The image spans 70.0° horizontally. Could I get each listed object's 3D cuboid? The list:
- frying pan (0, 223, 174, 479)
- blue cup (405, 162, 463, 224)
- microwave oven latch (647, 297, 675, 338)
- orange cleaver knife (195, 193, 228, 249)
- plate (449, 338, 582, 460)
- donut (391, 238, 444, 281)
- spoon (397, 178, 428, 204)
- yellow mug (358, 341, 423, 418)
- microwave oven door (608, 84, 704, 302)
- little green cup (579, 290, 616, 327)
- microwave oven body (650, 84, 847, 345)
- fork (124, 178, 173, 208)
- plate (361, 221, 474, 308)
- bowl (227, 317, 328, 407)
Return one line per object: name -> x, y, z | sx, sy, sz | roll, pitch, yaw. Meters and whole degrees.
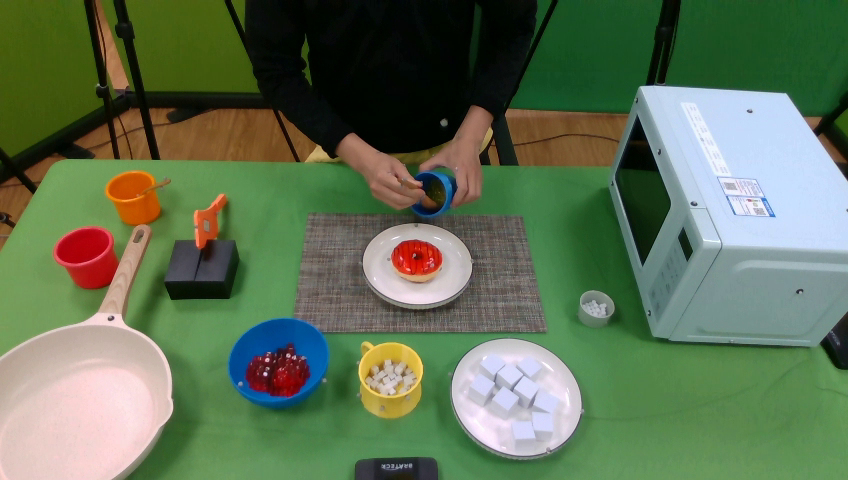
frying pan -> -0.505, 0.169, 0.941 | 0.307, 0.103, 0.485 | 5, 54, -1
blue cup -> 0.026, -0.078, 1.140 | 0.092, 0.101, 0.092 | -14, 60, 25
microwave oven latch -> 0.413, 0.133, 1.060 | 0.030, 0.029, 0.078 | 5, 46, 2
orange cleaver knife -> -0.406, -0.041, 1.163 | 0.012, 0.077, 0.210 | 0, 18, -3
plate -> 0.141, 0.251, 0.955 | 0.208, 0.039, 0.206 | 2, 46, -2
donut -> -0.012, 0.035, 1.128 | 0.099, 0.048, 0.098 | 3, 43, -3
spoon -> -0.009, -0.084, 1.067 | 0.041, 0.194, 0.021 | 10, 82, 22
yellow mug -> -0.063, 0.210, 0.961 | 0.100, 0.064, 0.130 | -29, 54, -27
microwave oven door -> 0.424, -0.096, 1.138 | 0.039, 0.245, 0.353 | 2, 47, -1
little green cup -> 0.308, 0.124, 1.086 | 0.061, 0.039, 0.061 | 1, 45, -1
microwave oven body -> 0.569, -0.054, 1.115 | 0.326, 0.261, 0.439 | 2, 46, -1
fork -> -0.525, -0.089, 1.153 | 0.207, 0.019, 0.028 | -17, 27, 45
plate -> -0.011, 0.049, 1.130 | 0.209, 0.038, 0.208 | 2, 46, -2
bowl -> -0.222, 0.203, 0.947 | 0.151, 0.077, 0.150 | 2, 46, -2
